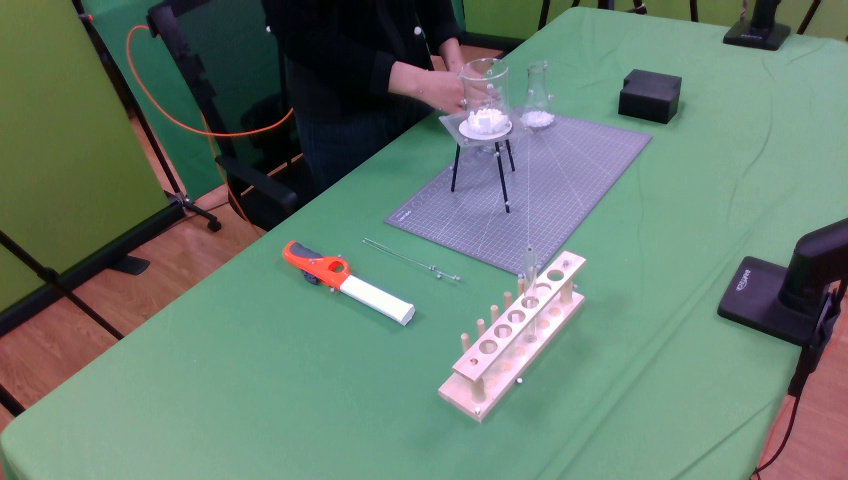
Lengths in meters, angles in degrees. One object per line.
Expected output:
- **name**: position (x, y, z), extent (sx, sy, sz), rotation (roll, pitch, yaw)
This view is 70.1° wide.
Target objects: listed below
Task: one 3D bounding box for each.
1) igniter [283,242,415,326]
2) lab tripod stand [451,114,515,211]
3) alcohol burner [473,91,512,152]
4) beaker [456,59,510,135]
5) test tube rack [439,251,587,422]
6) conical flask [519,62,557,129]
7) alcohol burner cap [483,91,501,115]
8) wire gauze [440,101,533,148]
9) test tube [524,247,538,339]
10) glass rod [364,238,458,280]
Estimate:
- **igniter**: position (-0.126, 0.062, 0.931), extent (0.274, 0.025, 0.057), rotation (24, 61, 33)
- **lab tripod stand**: position (0.113, -0.140, 1.037), extent (0.148, 0.132, 0.147), rotation (-6, 38, 5)
- **alcohol burner**: position (0.132, -0.229, 1.154), extent (0.078, 0.119, 0.077), rotation (-5, 38, 4)
- **beaker**: position (0.098, -0.226, 0.964), extent (0.084, 0.101, 0.073), rotation (-7, 39, 4)
- **test tube rack**: position (0.118, 0.111, 0.780), extent (0.066, 0.085, 0.243), rotation (26, 51, 35)
- **conical flask**: position (0.225, -0.288, 1.198), extent (0.075, 0.122, 0.075), rotation (-6, 40, 5)
- **alcohol burner cap**: position (0.128, -0.256, 1.130), extent (0.034, 0.048, 0.033), rotation (-3, 46, 3)
- **wire gauze**: position (0.100, -0.189, 0.995), extent (0.125, 0.011, 0.120), rotation (-16, 37, -6)
- **test tube**: position (0.133, 0.070, 0.749), extent (0.017, 0.151, 0.017), rotation (-5, 38, 4)
- **glass rod**: position (-0.026, 0.029, 0.966), extent (0.198, 0.008, 0.008), rotation (22, 49, 35)
